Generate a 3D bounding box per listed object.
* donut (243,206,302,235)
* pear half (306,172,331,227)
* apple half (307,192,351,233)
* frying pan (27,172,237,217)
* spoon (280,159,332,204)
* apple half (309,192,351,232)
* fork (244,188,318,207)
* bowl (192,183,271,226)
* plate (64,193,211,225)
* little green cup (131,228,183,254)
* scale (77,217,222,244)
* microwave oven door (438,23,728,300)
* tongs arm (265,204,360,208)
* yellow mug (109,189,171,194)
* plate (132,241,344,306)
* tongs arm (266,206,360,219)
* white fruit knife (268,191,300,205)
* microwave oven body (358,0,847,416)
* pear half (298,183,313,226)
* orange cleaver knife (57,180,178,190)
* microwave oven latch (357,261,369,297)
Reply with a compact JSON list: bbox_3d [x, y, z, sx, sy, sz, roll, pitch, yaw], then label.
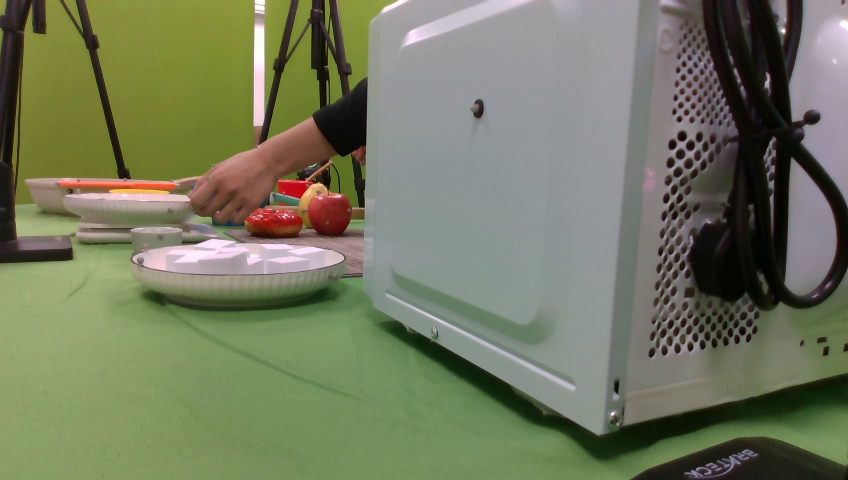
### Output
[{"bbox_3d":[-0.261,-0.032,1.043,0.099,0.048,0.099,4,10,0],"label":"donut"},{"bbox_3d":[-0.200,-0.079,1.203,0.056,0.110,0.076,3,11,1],"label":"pear half"},{"bbox_3d":[-0.174,-0.048,1.087,0.081,0.074,0.053,5,10,2],"label":"apple half"},{"bbox_3d":[-0.624,-0.118,1.387,0.305,0.102,0.490,8,17,32],"label":"frying pan"},{"bbox_3d":[-0.316,-0.159,1.640,0.194,0.022,0.041,-50,32,-20],"label":"spoon"},{"bbox_3d":[-0.173,-0.054,1.126,0.081,0.081,0.033,2,11,2],"label":"apple half"},{"bbox_3d":[-0.356,-0.105,1.526,0.208,0.018,0.028,16,-5,-41],"label":"fork"},{"bbox_3d":[-0.382,-0.071,1.202,0.151,0.077,0.151,3,7,0],"label":"bowl"},{"bbox_3d":[-0.446,-0.050,0.952,0.209,0.038,0.209,2,7,0],"label":"plate"},{"bbox_3d":[-0.342,0.006,0.779,0.061,0.038,0.061,2,8,0],"label":"little green cup"},{"bbox_3d":[-0.434,-0.019,0.963,0.202,0.031,0.148,-1,9,-27],"label":"scale"},{"bbox_3d":[0.181,-0.073,0.621,0.358,0.243,0.039,-2,8,-29],"label":"microwave oven door"},{"bbox_3d":[-0.209,-0.069,1.439,0.389,0.027,0.028,1,0,-16],"label":"tongs arm"},{"bbox_3d":[-0.519,-0.055,1.080,0.099,0.064,0.131,7,10,26],"label":"yellow mug"},{"bbox_3d":[-0.187,0.033,0.625,0.208,0.039,0.207,2,7,0],"label":"plate"},{"bbox_3d":[-0.173,-0.061,1.362,0.387,0.026,0.050,-1,4,-31],"label":"tongs arm"},{"bbox_3d":[-0.364,-0.105,1.464,0.208,0.027,0.016,15,-1,-34],"label":"white fruit knife"},{"bbox_3d":[0.211,-0.047,0.474,0.444,0.260,0.324,-1,7,-28],"label":"microwave oven body"},{"bbox_3d":[-0.236,-0.071,1.207,0.031,0.088,0.070,3,10,0],"label":"pear half"},{"bbox_3d":[-0.600,-0.109,1.189,0.212,0.012,0.077,-1,11,-26],"label":"orange cleaver knife"},{"bbox_3d":[-0.019,0.033,0.530,0.079,0.029,0.030,-1,7,-27],"label":"microwave oven latch"}]
